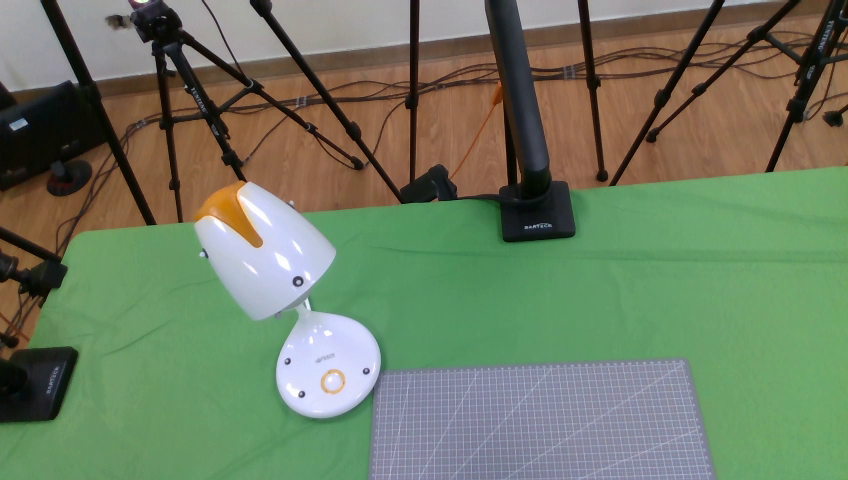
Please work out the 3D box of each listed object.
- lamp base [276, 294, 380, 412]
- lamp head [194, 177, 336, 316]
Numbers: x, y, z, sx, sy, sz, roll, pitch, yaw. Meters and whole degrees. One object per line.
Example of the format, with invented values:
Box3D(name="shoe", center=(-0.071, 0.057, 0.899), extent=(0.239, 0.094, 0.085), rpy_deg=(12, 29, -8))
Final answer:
Box3D(name="lamp base", center=(-0.163, 0.131, 0.860), extent=(0.160, 0.182, 0.177), rpy_deg=(-29, 54, -10))
Box3D(name="lamp head", center=(-0.168, -0.003, 0.608), extent=(0.112, 0.123, 0.111), rpy_deg=(-35, 16, 12))
